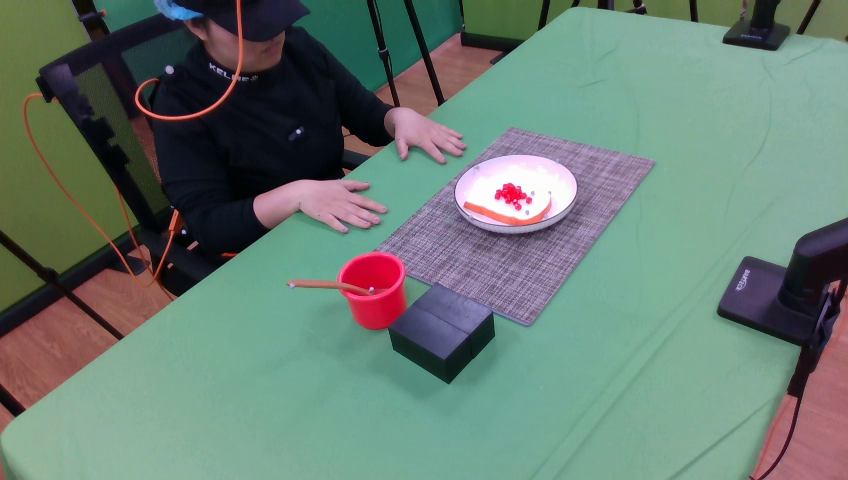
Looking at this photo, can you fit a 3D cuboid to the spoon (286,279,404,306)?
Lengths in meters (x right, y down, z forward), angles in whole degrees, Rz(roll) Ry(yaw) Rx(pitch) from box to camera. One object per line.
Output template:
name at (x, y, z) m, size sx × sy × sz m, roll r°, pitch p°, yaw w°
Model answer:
spoon at (-0.104, 0.068, 0.832) m, size 0.195 × 0.021 × 0.041 m, roll 17°, pitch 21°, yaw -44°

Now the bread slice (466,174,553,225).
bread slice at (0.152, -0.067, 1.022) m, size 0.130 × 0.019 × 0.105 m, roll 22°, pitch 50°, yaw 33°

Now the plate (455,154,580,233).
plate at (0.158, -0.076, 1.028) m, size 0.209 × 0.038 × 0.208 m, roll -5°, pitch 40°, yaw 5°
